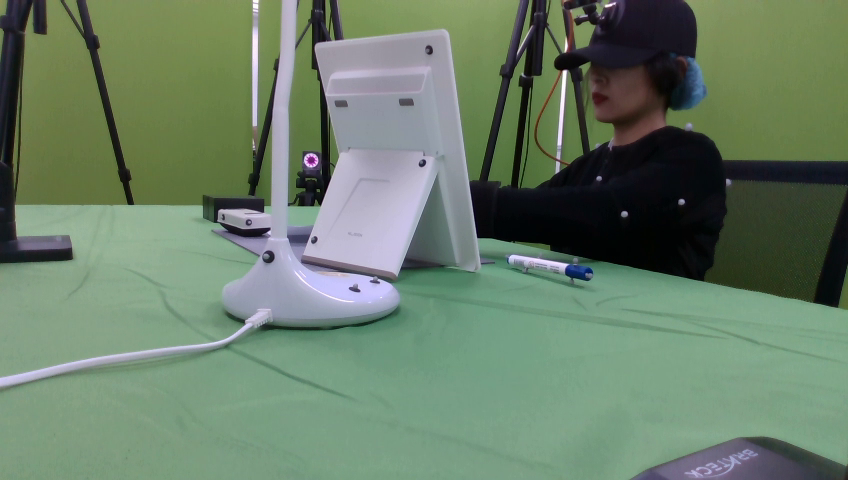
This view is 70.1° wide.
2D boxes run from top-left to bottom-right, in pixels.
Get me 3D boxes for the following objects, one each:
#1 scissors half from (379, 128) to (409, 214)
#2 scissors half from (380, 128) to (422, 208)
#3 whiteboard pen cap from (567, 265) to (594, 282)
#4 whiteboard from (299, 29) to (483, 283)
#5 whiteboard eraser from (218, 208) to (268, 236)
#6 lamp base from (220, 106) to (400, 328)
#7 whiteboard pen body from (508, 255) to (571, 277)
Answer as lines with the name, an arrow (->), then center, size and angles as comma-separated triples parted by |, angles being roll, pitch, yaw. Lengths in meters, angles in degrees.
scissors half -> -0.063, -0.129, 1.159 | 0.040, 0.175, 0.013 | -20, 24, -20
scissors half -> -0.046, -0.138, 1.163 | 0.040, 0.175, 0.012 | -33, 28, -8
whiteboard pen cap -> 0.186, 0.040, 0.722 | 0.018, 0.018, 0.033 | -2, 6, -33
whiteboard -> -0.074, -0.082, 0.742 | 0.216, 0.305, 0.144 | 9, 29, 38
whiteboard eraser -> -0.309, -0.031, 1.044 | 0.056, 0.042, 0.112 | -2, 9, -40
lamp base -> -0.101, -0.023, 0.531 | 0.160, 0.180, 0.179 | 4, 10, 10
whiteboard pen body -> 0.155, 0.034, 0.772 | 0.017, 0.017, 0.140 | -2, 7, -31
